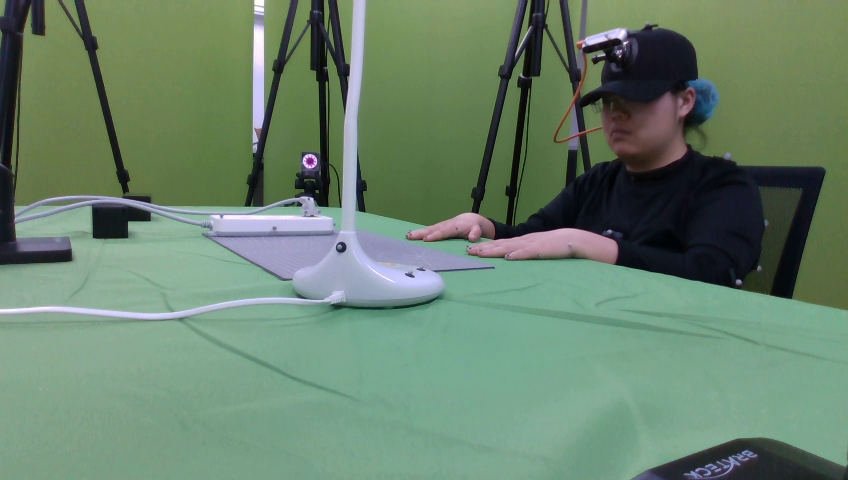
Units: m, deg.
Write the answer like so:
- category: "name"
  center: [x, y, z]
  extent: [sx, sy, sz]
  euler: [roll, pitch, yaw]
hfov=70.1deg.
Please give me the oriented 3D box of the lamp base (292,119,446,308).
- category: "lamp base"
  center: [-0.056, -0.030, 0.616]
  extent: [0.160, 0.180, 0.179]
  euler: [4, 10, 8]

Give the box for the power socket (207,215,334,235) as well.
- category: "power socket"
  center: [-0.270, -0.028, 1.082]
  extent: [0.228, 0.032, 0.072]
  euler: [-2, 7, -30]

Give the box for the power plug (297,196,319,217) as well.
- category: "power plug"
  center: [-0.219, -0.056, 1.142]
  extent: [0.035, 0.052, 0.072]
  euler: [0, 7, -19]
